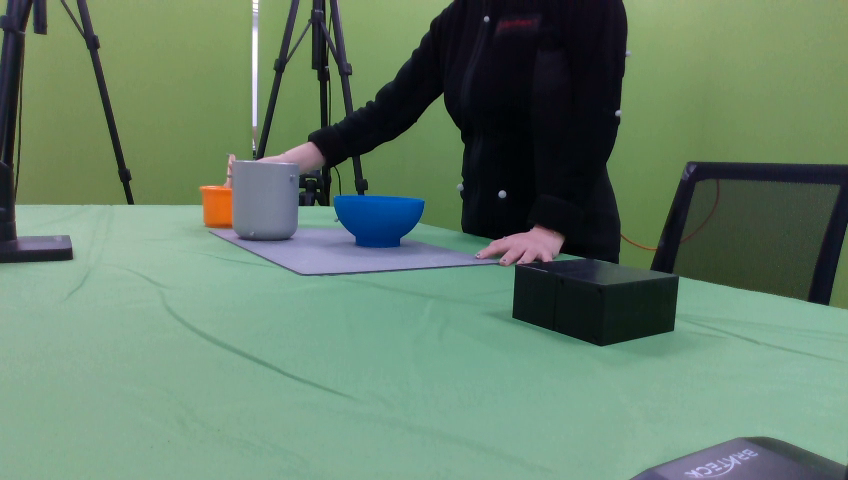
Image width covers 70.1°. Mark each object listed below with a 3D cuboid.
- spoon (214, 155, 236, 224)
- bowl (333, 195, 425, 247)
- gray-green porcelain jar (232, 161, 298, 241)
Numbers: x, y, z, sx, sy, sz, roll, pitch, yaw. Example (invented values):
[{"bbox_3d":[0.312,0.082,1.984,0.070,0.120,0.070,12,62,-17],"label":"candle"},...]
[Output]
[{"bbox_3d":[-0.385,-0.104,1.194,0.042,0.193,0.021,2,-37,-11],"label":"spoon"},{"bbox_3d":[-0.074,-0.031,0.987,0.151,0.077,0.151,2,7,0],"label":"bowl"},{"bbox_3d":[-0.262,-0.065,0.999,0.106,0.126,0.106,3,7,0],"label":"gray-green porcelain jar"}]
